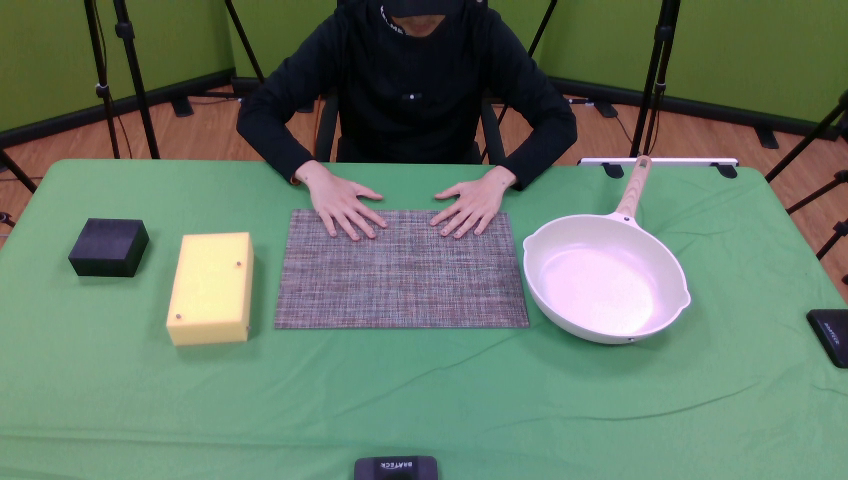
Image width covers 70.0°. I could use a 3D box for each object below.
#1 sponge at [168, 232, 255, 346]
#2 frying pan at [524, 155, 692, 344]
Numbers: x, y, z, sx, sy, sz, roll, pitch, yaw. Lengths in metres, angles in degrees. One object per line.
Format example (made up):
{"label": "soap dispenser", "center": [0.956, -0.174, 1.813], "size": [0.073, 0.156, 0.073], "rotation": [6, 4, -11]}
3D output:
{"label": "sponge", "center": [-0.368, 0.081, 1.065], "size": [0.118, 0.061, 0.205], "rotation": [-4, 46, -7]}
{"label": "frying pan", "center": [0.372, -0.002, 1.167], "size": [0.306, 0.103, 0.486], "rotation": [22, 57, 16]}
